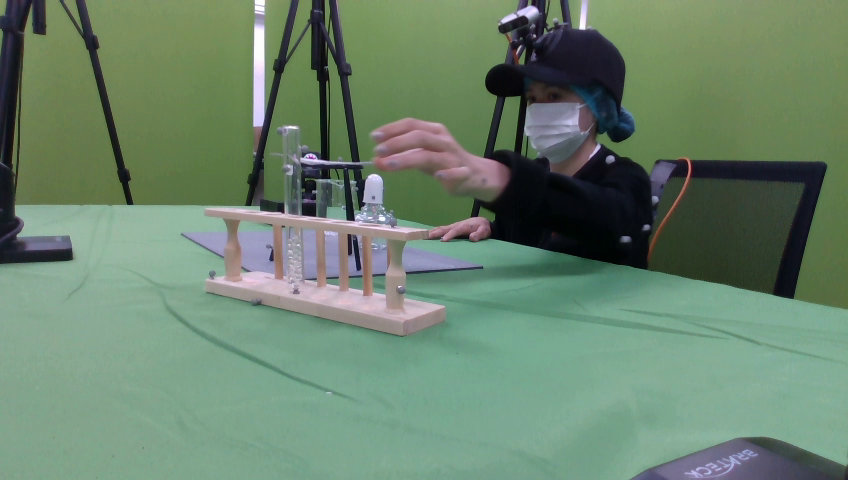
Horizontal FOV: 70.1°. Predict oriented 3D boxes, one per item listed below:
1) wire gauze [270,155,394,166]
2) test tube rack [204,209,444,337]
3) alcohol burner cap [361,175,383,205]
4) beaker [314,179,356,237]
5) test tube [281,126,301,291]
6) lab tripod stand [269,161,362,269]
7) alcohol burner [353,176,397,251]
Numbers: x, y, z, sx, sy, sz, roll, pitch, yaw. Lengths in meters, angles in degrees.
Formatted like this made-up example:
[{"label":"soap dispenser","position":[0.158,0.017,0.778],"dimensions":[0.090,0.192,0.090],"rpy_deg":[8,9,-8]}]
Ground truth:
[{"label":"wire gauze","position":[-0.122,-0.101,0.785],"dimensions":[0.122,0.011,0.124],"rpy_deg":[-3,10,-38]},{"label":"test tube rack","position":[-0.100,0.021,0.565],"dimensions":[0.241,0.085,0.067],"rpy_deg":[7,9,32]},{"label":"alcohol burner cap","position":[-0.080,-0.078,0.944],"dimensions":[0.034,0.048,0.034],"rpy_deg":[5,7,0]},{"label":"beaker","position":[-0.162,-0.058,1.094],"dimensions":[0.074,0.100,0.083],"rpy_deg":[0,9,-21]},{"label":"test tube","position":[-0.121,-0.028,0.549],"dimensions":[0.017,0.150,0.017],"rpy_deg":[1,8,0]},{"label":"lab tripod stand","position":[-0.125,-0.036,0.794],"dimensions":[0.148,0.131,0.148],"rpy_deg":[5,7,0]},{"label":"alcohol burner","position":[-0.082,-0.043,0.950],"dimensions":[0.078,0.119,0.078],"rpy_deg":[1,8,0]}]
